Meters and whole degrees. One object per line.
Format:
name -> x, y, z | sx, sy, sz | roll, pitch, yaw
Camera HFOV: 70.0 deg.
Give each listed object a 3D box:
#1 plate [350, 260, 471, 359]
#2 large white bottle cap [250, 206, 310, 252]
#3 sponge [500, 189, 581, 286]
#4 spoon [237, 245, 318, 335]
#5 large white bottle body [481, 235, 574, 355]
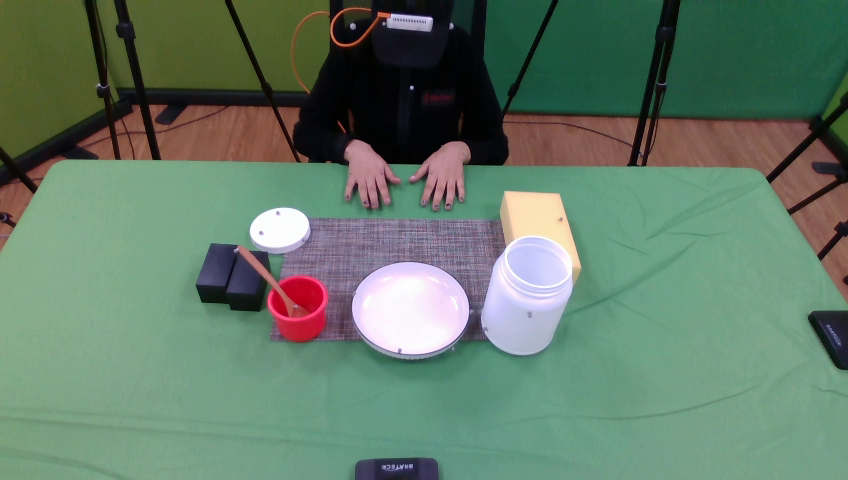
plate -> -0.024, 0.124, 1.061 | 0.209, 0.038, 0.208 | 2, 46, -2
large white bottle cap -> -0.284, -0.022, 1.197 | 0.115, 0.018, 0.114 | 1, 46, -1
sponge -> 0.223, -0.007, 1.192 | 0.118, 0.061, 0.205 | 1, 47, -6
spoon -> -0.244, 0.082, 1.010 | 0.041, 0.021, 0.194 | -46, 108, -36
large white bottle body -> 0.171, 0.091, 1.006 | 0.131, 0.185, 0.130 | 3, 48, -3
